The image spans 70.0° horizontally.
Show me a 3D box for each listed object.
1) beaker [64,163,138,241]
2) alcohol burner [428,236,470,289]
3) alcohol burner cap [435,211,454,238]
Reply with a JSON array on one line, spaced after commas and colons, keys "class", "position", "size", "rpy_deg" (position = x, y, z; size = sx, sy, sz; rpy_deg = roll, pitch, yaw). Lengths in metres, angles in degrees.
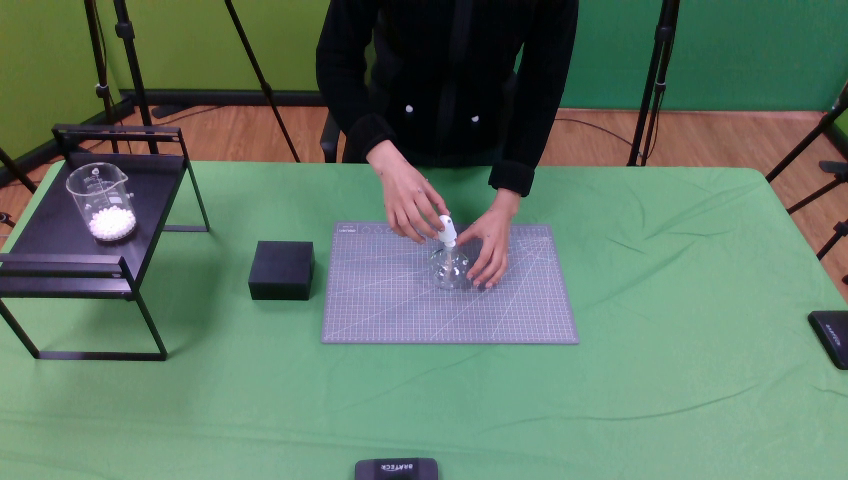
[{"class": "beaker", "position": [-0.477, -0.055, 0.910], "size": [0.084, 0.101, 0.073], "rpy_deg": [-9, 48, -13]}, {"class": "alcohol burner", "position": [0.045, 0.032, 1.099], "size": [0.078, 0.120, 0.077], "rpy_deg": [0, 45, 0]}, {"class": "alcohol burner cap", "position": [0.036, -0.030, 1.037], "size": [0.034, 0.048, 0.033], "rpy_deg": [1, 47, -1]}]
